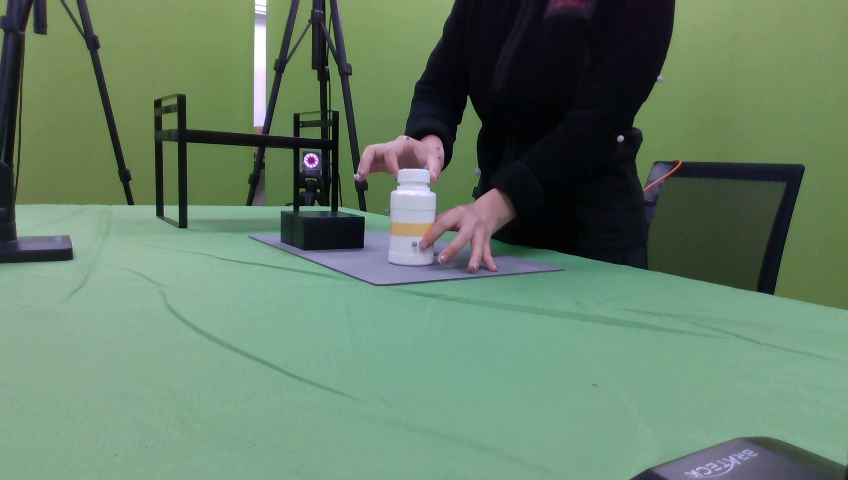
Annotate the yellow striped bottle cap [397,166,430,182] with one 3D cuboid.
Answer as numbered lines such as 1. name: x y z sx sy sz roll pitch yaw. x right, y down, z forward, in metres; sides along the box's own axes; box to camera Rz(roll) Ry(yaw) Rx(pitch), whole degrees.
1. yellow striped bottle cap: -0.014 -0.087 0.805 0.044 0.018 0.044 2 -1 0

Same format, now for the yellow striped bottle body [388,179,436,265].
1. yellow striped bottle body: -0.016 -0.030 0.813 0.063 0.120 0.063 2 7 0
